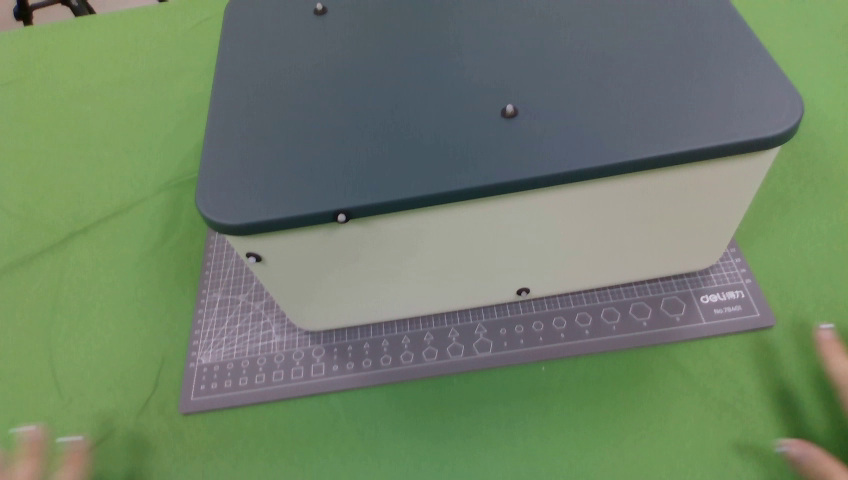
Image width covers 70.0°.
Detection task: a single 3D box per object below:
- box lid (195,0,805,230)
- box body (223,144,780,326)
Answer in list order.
[{"bbox_3d":[0.030,-0.134,0.425,0.371,0.015,0.260,-9,53,2],"label":"box lid"},{"bbox_3d":[0.043,-0.090,0.483,0.364,0.162,0.251,-9,53,2],"label":"box body"}]
